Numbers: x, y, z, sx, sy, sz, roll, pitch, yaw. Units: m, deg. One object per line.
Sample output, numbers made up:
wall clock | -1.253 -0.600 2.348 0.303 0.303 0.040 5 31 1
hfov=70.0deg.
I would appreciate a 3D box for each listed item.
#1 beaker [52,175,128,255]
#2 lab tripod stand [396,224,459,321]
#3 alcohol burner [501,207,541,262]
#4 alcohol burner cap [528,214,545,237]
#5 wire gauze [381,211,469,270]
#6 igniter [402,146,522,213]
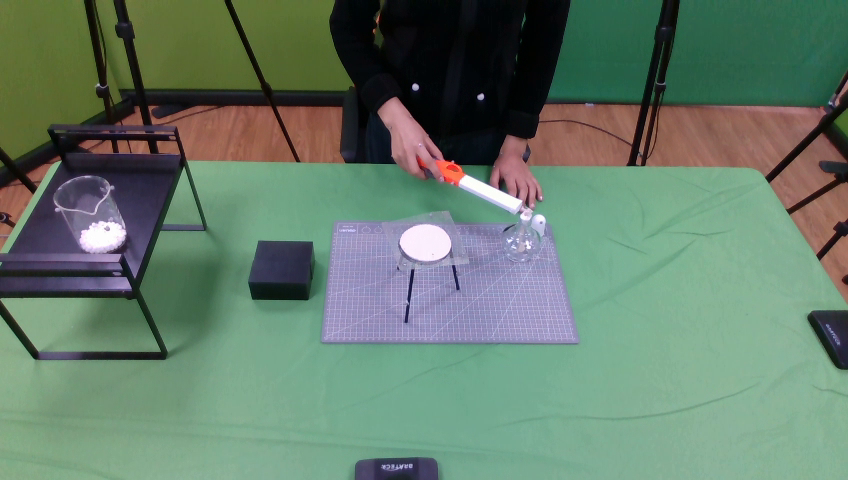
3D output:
beaker | -0.482 -0.032 0.888 0.074 0.101 0.083 -28 55 -27
lab tripod stand | -0.003 0.052 1.067 0.148 0.132 0.147 3 47 -3
alcohol burner | 0.188 -0.015 1.160 0.078 0.120 0.077 1 44 -1
alcohol burner cap | 0.231 -0.032 1.230 0.034 0.048 0.033 2 46 -2
wire gauze | 0.000 0.001 1.023 0.125 0.011 0.120 -9 48 -13
igniter | 0.067 -0.123 1.190 0.275 0.025 0.057 28 53 23
